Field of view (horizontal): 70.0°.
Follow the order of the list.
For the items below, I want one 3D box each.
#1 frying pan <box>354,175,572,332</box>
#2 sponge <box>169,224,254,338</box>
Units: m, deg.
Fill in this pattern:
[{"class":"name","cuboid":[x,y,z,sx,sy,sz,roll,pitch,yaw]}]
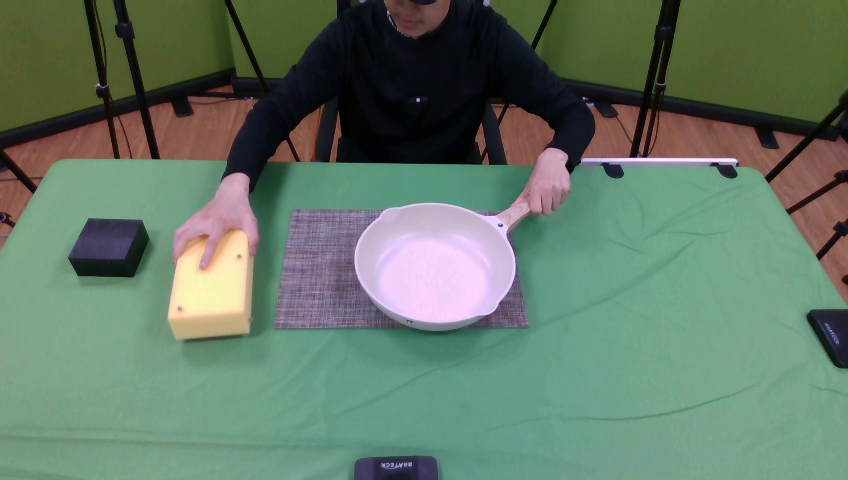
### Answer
[{"class":"frying pan","cuboid":[0.103,-0.001,1.142,0.488,0.103,0.305,-32,56,-20]},{"class":"sponge","cuboid":[-0.363,0.067,1.055,0.118,0.061,0.205,-6,45,-8]}]
